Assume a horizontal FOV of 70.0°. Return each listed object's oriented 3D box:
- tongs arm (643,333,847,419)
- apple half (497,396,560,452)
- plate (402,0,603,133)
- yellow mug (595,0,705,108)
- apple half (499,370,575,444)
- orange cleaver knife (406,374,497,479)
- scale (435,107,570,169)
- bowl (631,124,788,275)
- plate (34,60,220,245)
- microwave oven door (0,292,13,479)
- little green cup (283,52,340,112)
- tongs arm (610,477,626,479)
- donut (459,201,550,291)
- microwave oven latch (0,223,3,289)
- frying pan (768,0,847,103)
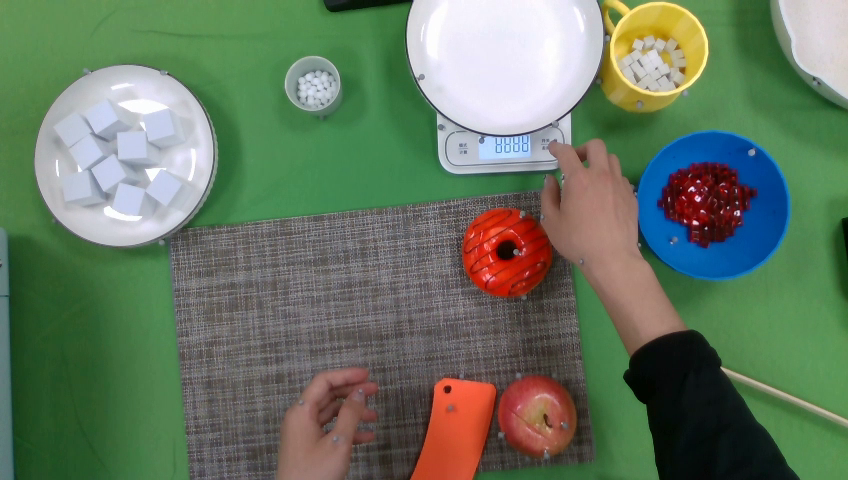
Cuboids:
[{"bbox_3d":[0.416,0.182,0.644,0.387,0.028,0.028,24,80,3],"label":"tongs arm"},{"bbox_3d":[0.101,0.196,0.630,0.081,0.081,0.033,37,85,4],"label":"apple half"},{"bbox_3d":[0.081,-0.214,0.643,0.209,0.038,0.209,0,87,2],"label":"plate"},{"bbox_3d":[0.230,-0.212,0.652,0.100,0.064,0.130,-39,85,1],"label":"yellow mug"},{"bbox_3d":[0.124,0.165,0.632,0.080,0.075,0.053,36,85,8],"label":"apple half"},{"bbox_3d":[0.016,0.243,0.660,0.077,0.012,0.211,23,86,-2],"label":"orange cleaver knife"},{"bbox_3d":[0.085,-0.182,0.674,0.148,0.031,0.200,-2,87,3],"label":"scale"},{"bbox_3d":[0.285,-0.038,0.635,0.151,0.077,0.151,0,88,3],"label":"bowl"},{"bbox_3d":[-0.330,-0.097,0.687,0.207,0.039,0.207,0,87,3],"label":"plate"},{"bbox_3d":[-0.481,0.229,0.559,0.039,0.244,0.355,-4,87,3],"label":"microwave oven door"},{"bbox_3d":[-0.123,-0.174,0.681,0.061,0.039,0.061,0,87,3],"label":"little green cup"},{"bbox_3d":[0.394,0.266,0.638,0.385,0.026,0.050,9,83,2],"label":"tongs arm"},{"bbox_3d":[0.086,0.006,0.655,0.099,0.048,0.099,0,88,5],"label":"donut"},{"bbox_3d":[-0.487,0.016,0.671,0.030,0.029,0.079,-2,88,2],"label":"microwave oven latch"},{"bbox_3d":[0.558,-0.183,0.615,0.307,0.103,0.485,-33,78,2],"label":"frying pan"}]
